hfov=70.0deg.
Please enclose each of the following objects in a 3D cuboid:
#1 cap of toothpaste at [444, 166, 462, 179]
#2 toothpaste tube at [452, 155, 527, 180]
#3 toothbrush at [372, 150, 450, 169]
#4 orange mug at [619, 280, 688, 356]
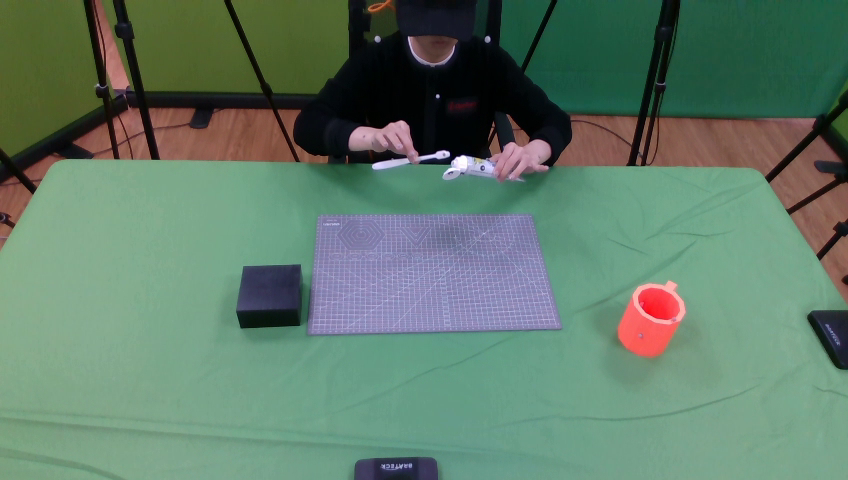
[{"bbox_3d":[0.052,-0.124,1.101,0.037,0.037,0.011,-12,71,-15],"label":"cap of toothpaste"},{"bbox_3d":[0.123,-0.137,1.158,0.166,0.034,0.054,2,41,-34],"label":"toothpaste tube"},{"bbox_3d":[-0.027,-0.150,1.135,0.181,0.014,0.016,-5,13,37],"label":"toothbrush"},{"bbox_3d":[0.401,0.125,1.045,0.083,0.101,0.126,30,56,24],"label":"orange mug"}]
